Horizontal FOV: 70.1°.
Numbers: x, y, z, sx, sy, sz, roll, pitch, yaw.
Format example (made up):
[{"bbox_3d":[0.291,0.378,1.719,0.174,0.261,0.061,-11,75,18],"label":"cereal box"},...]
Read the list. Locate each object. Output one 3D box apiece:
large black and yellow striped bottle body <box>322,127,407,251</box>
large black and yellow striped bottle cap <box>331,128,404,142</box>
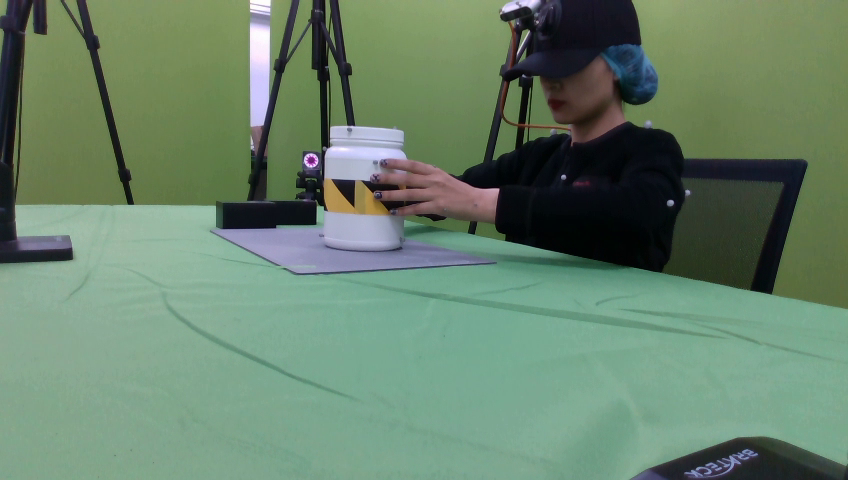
[{"bbox_3d":[-0.093,-0.081,0.952,0.131,0.184,0.130,3,7,0],"label":"large black and yellow striped bottle body"},{"bbox_3d":[-0.088,-0.164,0.941,0.115,0.019,0.115,2,9,0],"label":"large black and yellow striped bottle cap"}]
